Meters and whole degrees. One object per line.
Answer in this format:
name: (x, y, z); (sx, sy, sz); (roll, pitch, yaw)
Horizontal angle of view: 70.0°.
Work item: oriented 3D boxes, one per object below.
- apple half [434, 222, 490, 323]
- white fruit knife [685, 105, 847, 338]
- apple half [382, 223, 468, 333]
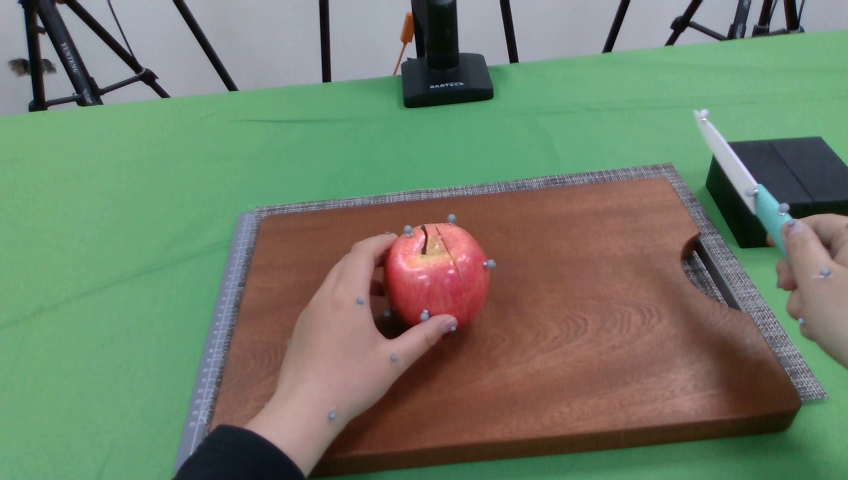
apple half: (0.033, 0.022, 0.465); (0.033, 0.082, 0.080); (-19, 42, -8)
white fruit knife: (0.232, -0.027, 0.425); (0.016, 0.028, 0.205); (-14, 54, -4)
apple half: (-0.003, 0.033, 0.458); (0.053, 0.075, 0.080); (-19, 47, -7)
